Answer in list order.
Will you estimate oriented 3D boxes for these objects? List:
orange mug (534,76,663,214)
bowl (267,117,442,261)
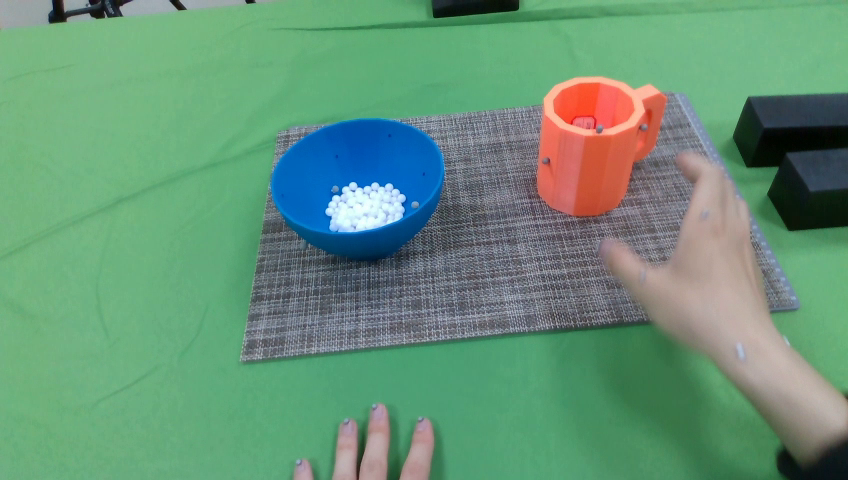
[{"bbox_3d":[0.163,-0.095,0.564,0.126,0.102,0.082,-26,51,-11],"label":"orange mug"},{"bbox_3d":[-0.056,-0.034,0.547,0.151,0.077,0.150,-3,48,4],"label":"bowl"}]
